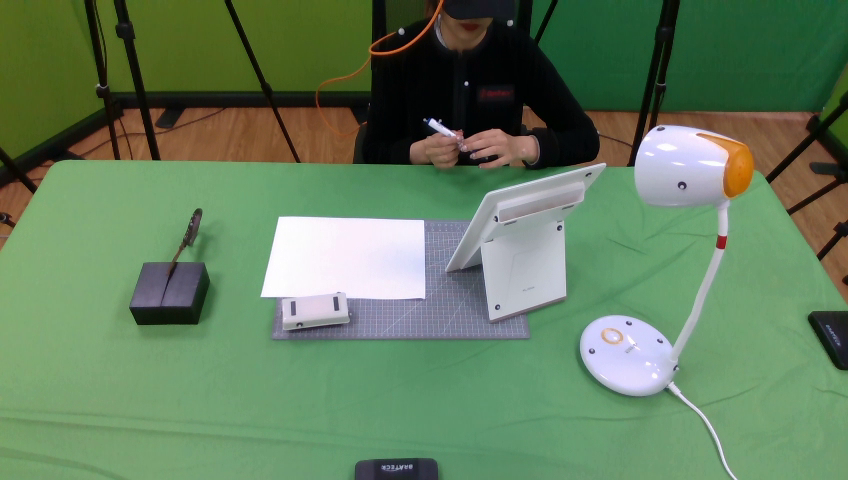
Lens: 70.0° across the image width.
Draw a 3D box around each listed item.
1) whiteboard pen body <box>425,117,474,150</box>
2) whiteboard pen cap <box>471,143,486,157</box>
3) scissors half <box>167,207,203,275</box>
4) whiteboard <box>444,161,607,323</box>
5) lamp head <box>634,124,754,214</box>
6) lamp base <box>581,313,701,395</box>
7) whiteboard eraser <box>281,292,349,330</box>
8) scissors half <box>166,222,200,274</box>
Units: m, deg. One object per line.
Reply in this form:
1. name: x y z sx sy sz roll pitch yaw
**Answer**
1. whiteboard pen body: 0.066 -0.219 1.281 0.141 0.017 0.017 30 48 -4
2. whiteboard pen cap: 0.115 -0.190 1.284 0.033 0.018 0.018 31 48 -5
3. scissors half: -0.436 0.000 1.104 0.013 0.040 0.174 21 44 -14
4. whiteboard: 0.186 0.025 1.029 0.217 0.306 0.143 -14 68 -18
5. lamp head: 0.351 -0.089 0.775 0.112 0.113 0.122 -30 30 -28
6. lamp base: 0.361 0.144 0.972 0.178 0.181 0.160 34 53 23
7. whiteboard eraser: -0.189 0.124 1.045 0.113 0.042 0.055 -6 46 -10
8. scissors half: -0.444 0.014 1.116 0.013 0.040 0.174 16 27 -10
